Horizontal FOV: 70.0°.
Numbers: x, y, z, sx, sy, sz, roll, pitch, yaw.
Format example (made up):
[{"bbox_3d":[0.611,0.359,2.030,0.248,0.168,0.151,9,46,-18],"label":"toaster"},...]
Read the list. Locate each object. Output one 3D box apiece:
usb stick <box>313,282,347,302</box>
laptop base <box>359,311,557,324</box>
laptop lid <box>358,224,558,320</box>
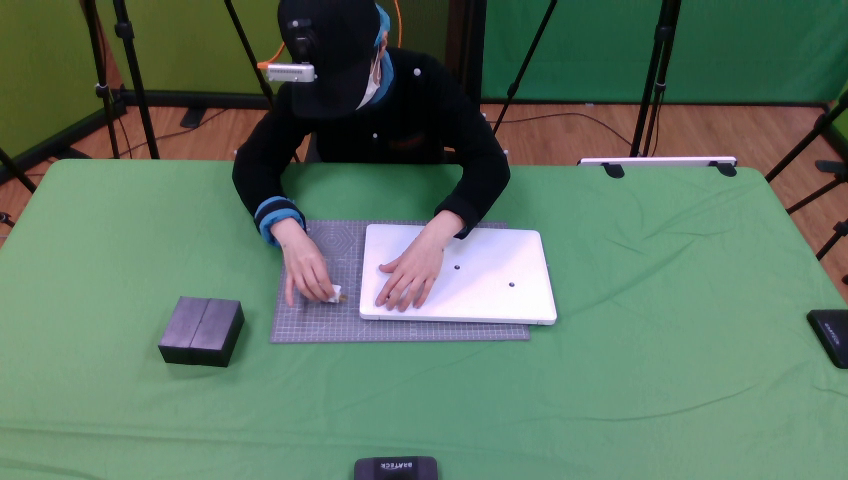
[{"bbox_3d":[-0.165,0.093,1.072,0.059,0.027,0.021,12,33,3],"label":"usb stick"},{"bbox_3d":[0.061,0.063,1.145,0.354,0.023,0.234,2,43,-3],"label":"laptop base"},{"bbox_3d":[0.061,0.053,1.138,0.357,0.013,0.240,3,44,-2],"label":"laptop lid"}]
